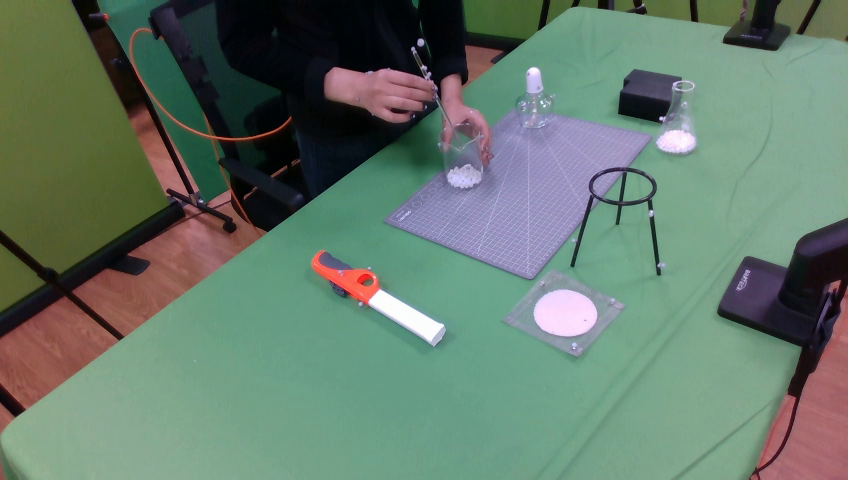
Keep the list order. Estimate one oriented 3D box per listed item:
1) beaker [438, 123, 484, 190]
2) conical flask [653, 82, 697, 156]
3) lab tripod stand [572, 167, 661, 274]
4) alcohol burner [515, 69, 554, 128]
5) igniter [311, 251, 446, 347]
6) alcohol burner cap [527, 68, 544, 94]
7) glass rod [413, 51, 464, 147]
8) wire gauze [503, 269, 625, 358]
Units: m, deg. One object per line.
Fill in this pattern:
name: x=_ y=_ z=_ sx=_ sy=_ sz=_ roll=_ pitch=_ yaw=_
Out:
beaker: x=0.069 y=-0.145 z=1.078 sx=0.074 sy=0.101 sz=0.083 roll=-7 pitch=40 yaw=5
conical flask: x=0.454 y=-0.218 z=1.077 sx=0.075 sy=0.122 sz=0.075 roll=-5 pitch=40 yaw=5
lab tripod stand: x=0.283 y=-0.030 z=0.879 sx=0.148 sy=0.132 sz=0.147 roll=-7 pitch=38 yaw=6
alcohol burner: x=0.221 y=-0.285 z=1.203 sx=0.078 sy=0.119 sz=0.077 roll=-4 pitch=39 yaw=4
igniter: x=-0.078 y=0.081 z=0.899 sx=0.274 sy=0.025 sz=0.057 roll=27 pitch=63 yaw=35
alcohol burner cap: x=0.216 y=-0.312 z=1.179 sx=0.034 sy=0.048 sz=0.033 roll=-9 pitch=40 yaw=9
glass rod: x=0.027 y=-0.226 z=0.990 sx=0.008 sy=0.201 sz=0.008 roll=-17 pitch=45 yaw=18
wire gauze: x=0.194 y=0.100 z=0.840 sx=0.120 sy=0.011 sz=0.125 roll=27 pitch=54 yaw=36
